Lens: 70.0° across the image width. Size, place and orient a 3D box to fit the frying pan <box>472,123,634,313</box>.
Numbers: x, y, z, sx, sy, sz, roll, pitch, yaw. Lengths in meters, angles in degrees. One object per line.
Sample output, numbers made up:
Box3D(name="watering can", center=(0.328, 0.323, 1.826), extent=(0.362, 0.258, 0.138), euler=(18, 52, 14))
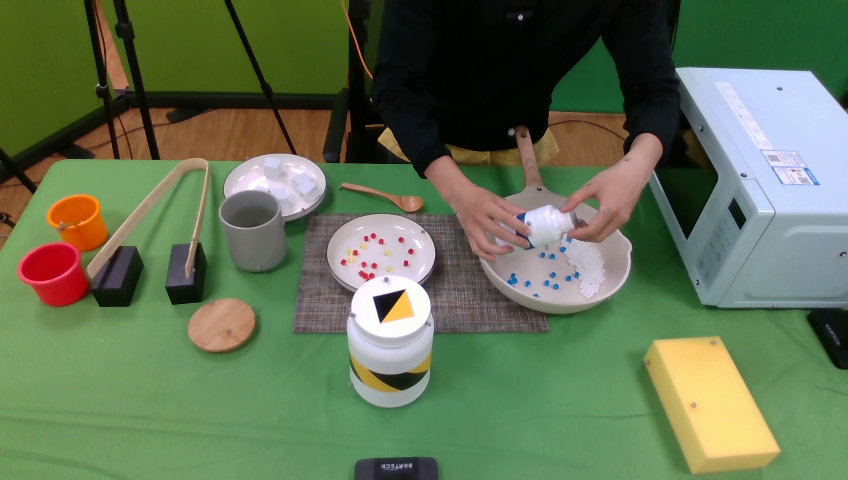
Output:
Box3D(name="frying pan", center=(0.236, -0.060, 1.207), extent=(0.307, 0.103, 0.484), euler=(2, 55, -5))

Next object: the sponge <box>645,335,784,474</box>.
Box3D(name="sponge", center=(0.449, 0.253, 0.956), extent=(0.118, 0.061, 0.205), euler=(-4, 46, -7))

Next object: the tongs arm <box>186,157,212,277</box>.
Box3D(name="tongs arm", center=(-0.445, -0.058, 1.169), extent=(0.051, 0.026, 0.382), euler=(-5, 37, -6))

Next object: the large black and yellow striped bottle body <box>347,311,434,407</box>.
Box3D(name="large black and yellow striped bottle body", center=(-0.052, 0.157, 0.929), extent=(0.131, 0.185, 0.130), euler=(2, 47, -2))

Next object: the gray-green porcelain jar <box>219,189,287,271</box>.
Box3D(name="gray-green porcelain jar", center=(-0.310, -0.014, 1.113), extent=(0.106, 0.127, 0.105), euler=(2, 46, -2))

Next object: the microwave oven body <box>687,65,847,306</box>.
Box3D(name="microwave oven body", center=(0.669, -0.111, 1.176), extent=(0.326, 0.261, 0.439), euler=(0, 46, -3))

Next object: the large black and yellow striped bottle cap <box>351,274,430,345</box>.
Box3D(name="large black and yellow striped bottle cap", center=(-0.048, 0.097, 0.867), extent=(0.115, 0.019, 0.114), euler=(2, 48, -3))

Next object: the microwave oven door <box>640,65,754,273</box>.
Box3D(name="microwave oven door", center=(0.523, -0.147, 1.193), extent=(0.039, 0.245, 0.353), euler=(0, 47, -3))

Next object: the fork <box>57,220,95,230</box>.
Box3D(name="fork", center=(-0.624, -0.027, 1.087), extent=(0.028, 0.207, 0.018), euler=(-3, 92, -17))

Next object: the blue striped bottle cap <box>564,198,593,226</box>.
Box3D(name="blue striped bottle cap", center=(0.239, -0.044, 0.938), extent=(0.021, 0.045, 0.044), euler=(-7, 43, -43))

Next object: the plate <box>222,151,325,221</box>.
Box3D(name="plate", center=(-0.310, -0.106, 1.263), extent=(0.208, 0.039, 0.206), euler=(2, 47, -2))

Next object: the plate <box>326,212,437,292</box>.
Box3D(name="plate", center=(-0.080, 0.030, 1.143), extent=(0.209, 0.038, 0.208), euler=(2, 46, -2))

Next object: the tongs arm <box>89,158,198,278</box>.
Box3D(name="tongs arm", center=(-0.529, -0.058, 1.164), extent=(0.028, 0.028, 0.385), euler=(1, 36, 8))

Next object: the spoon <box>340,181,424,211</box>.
Box3D(name="spoon", center=(-0.090, -0.100, 1.282), extent=(0.193, 0.022, 0.041), euler=(18, 67, 13))

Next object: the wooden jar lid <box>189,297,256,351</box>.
Box3D(name="wooden jar lid", center=(-0.342, 0.145, 1.033), extent=(0.108, 0.021, 0.107), euler=(2, 45, -2))

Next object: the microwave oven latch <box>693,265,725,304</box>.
Box3D(name="microwave oven latch", center=(0.523, 0.081, 1.116), extent=(0.030, 0.029, 0.078), euler=(2, 46, -1))

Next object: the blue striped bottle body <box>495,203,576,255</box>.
Box3D(name="blue striped bottle body", center=(0.181, -0.020, 0.975), extent=(0.121, 0.063, 0.063), euler=(-17, 39, 29))
